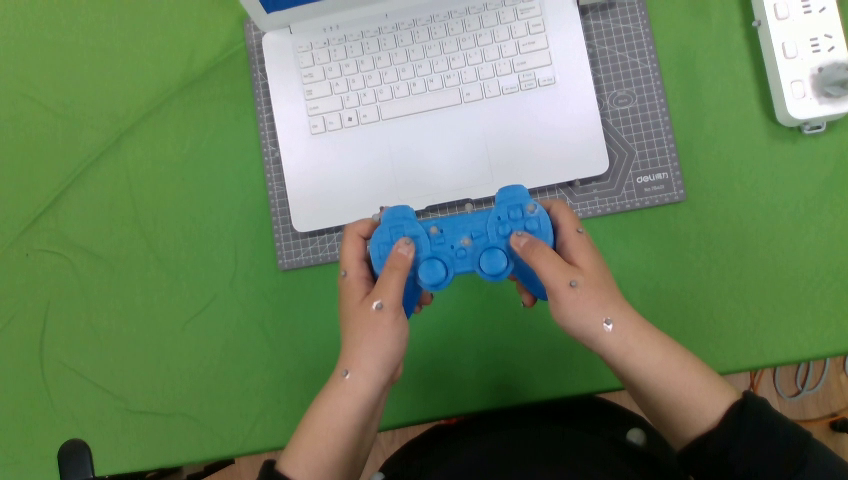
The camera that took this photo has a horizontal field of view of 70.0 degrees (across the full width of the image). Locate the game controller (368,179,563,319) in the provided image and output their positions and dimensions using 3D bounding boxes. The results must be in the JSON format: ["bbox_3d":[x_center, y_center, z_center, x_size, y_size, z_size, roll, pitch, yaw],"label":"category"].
[{"bbox_3d":[0.030,0.008,0.485,0.155,0.051,0.097,-10,90,6],"label":"game controller"}]

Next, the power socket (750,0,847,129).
[{"bbox_3d":[0.386,-0.230,0.628,0.072,0.033,0.226,-9,84,7],"label":"power socket"}]

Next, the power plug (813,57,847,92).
[{"bbox_3d":[0.425,-0.163,0.598,0.072,0.053,0.035,2,85,3],"label":"power plug"}]

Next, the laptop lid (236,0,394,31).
[{"bbox_3d":[-0.035,-0.300,0.569,0.356,0.243,0.013,-12,75,7],"label":"laptop lid"}]

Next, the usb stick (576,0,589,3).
[{"bbox_3d":[0.177,-0.272,0.650,0.059,0.027,0.021,-11,84,10],"label":"usb stick"}]

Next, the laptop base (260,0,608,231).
[{"bbox_3d":[0.005,-0.157,0.672,0.354,0.023,0.235,-11,87,5],"label":"laptop base"}]
